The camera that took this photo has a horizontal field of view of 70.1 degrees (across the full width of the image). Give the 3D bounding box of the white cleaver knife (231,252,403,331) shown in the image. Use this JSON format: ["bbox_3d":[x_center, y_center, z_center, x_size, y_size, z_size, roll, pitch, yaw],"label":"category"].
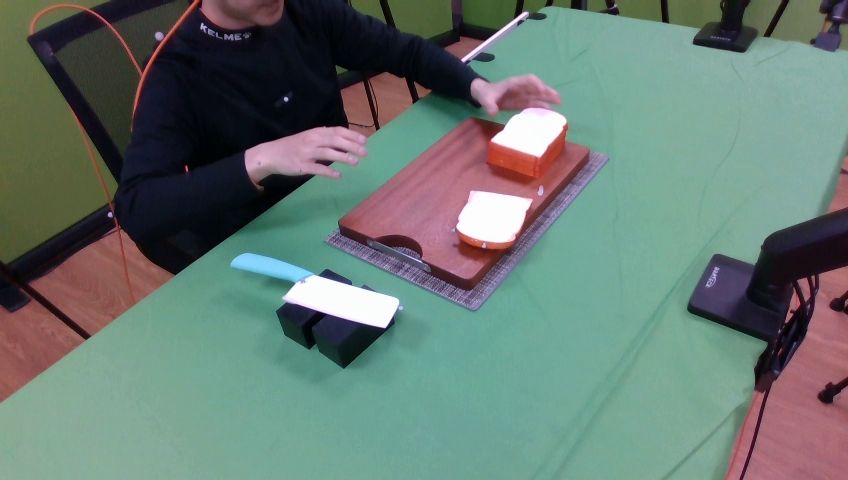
[{"bbox_3d":[-0.163,0.068,0.849,0.284,0.021,0.066,13,45,25],"label":"white cleaver knife"}]

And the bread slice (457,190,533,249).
[{"bbox_3d":[0.106,-0.032,0.945,0.104,0.019,0.131,12,40,16],"label":"bread slice"}]

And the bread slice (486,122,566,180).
[{"bbox_3d":[0.193,-0.167,1.091,0.106,0.018,0.134,28,56,29],"label":"bread slice"}]
